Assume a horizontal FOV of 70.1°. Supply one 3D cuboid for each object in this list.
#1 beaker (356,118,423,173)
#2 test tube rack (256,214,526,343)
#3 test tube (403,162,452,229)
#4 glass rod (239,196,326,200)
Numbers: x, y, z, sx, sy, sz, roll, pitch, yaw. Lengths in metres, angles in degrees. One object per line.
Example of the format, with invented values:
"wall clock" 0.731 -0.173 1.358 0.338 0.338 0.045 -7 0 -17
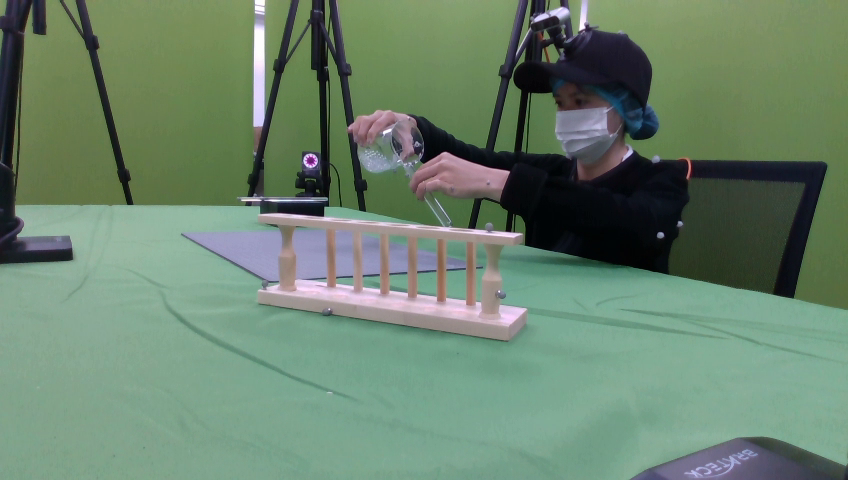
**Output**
"beaker" -0.061 -0.154 1.032 0.074 0.084 0.100 4 -9 -43
"test tube rack" -0.032 0.027 0.547 0.241 0.085 0.067 5 7 22
"test tube" 0.005 -0.070 0.954 0.017 0.017 0.149 -3 47 -37
"glass rod" -0.287 -0.087 1.250 0.201 0.008 0.008 -4 10 -42
